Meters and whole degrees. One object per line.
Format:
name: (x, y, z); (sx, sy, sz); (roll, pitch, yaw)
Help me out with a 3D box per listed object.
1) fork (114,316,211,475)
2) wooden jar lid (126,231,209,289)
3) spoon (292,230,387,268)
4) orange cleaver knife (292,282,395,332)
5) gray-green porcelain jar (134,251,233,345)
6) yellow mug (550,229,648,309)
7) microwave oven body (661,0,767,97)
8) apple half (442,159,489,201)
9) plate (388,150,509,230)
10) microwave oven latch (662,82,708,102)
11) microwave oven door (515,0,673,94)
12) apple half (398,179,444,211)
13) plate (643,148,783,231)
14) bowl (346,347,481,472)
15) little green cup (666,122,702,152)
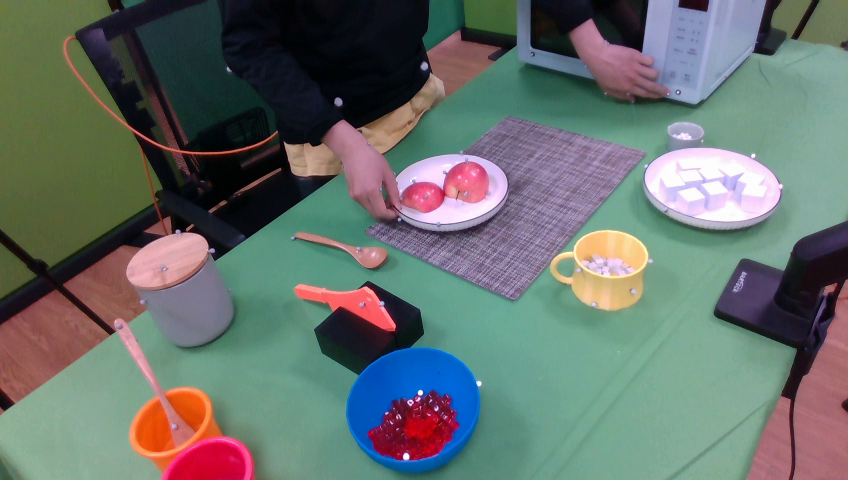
fork: (-0.309, 0.179, 0.708); (0.028, 0.018, 0.207); (-30, 89, -23)
wooden jar lid: (-0.340, 0.030, 0.809); (0.108, 0.021, 0.108); (-5, 39, 5)
spoon: (-0.141, 0.007, 0.982); (0.192, 0.022, 0.041); (17, 67, 25)
orange cleaver knife: (-0.116, 0.091, 0.835); (0.209, 0.077, 0.012); (2, 32, 48)
gray-green porcelain jar: (-0.334, 0.076, 0.849); (0.106, 0.127, 0.105); (-4, 41, 4)
yellow mug: (0.245, 0.040, 0.856); (0.130, 0.064, 0.099); (1, 41, 11)
microwave oven body: (0.473, -0.516, 1.313); (0.438, 0.261, 0.327); (26, 51, 34)
apple half: (0.074, -0.110, 1.047); (0.080, 0.053, 0.075); (21, 45, 30)
plate: (0.044, -0.083, 1.042); (0.209, 0.038, 0.208); (-4, 41, 4)
microwave oven latch: (0.518, -0.298, 1.202); (0.078, 0.029, 0.030); (28, 53, 35)
microwave oven door: (0.344, -0.458, 1.257); (0.353, 0.245, 0.039); (26, 52, 33)
apple half: (-0.004, -0.088, 1.045); (0.081, 0.033, 0.081); (-1, 42, 1)
plate: (0.464, -0.080, 0.986); (0.207, 0.039, 0.206); (-4, 41, 4)
bowl: (-0.008, 0.205, 0.691); (0.151, 0.077, 0.150); (-4, 40, 4)
little green cup: (0.471, -0.184, 1.102); (0.061, 0.039, 0.061); (-5, 41, 5)
